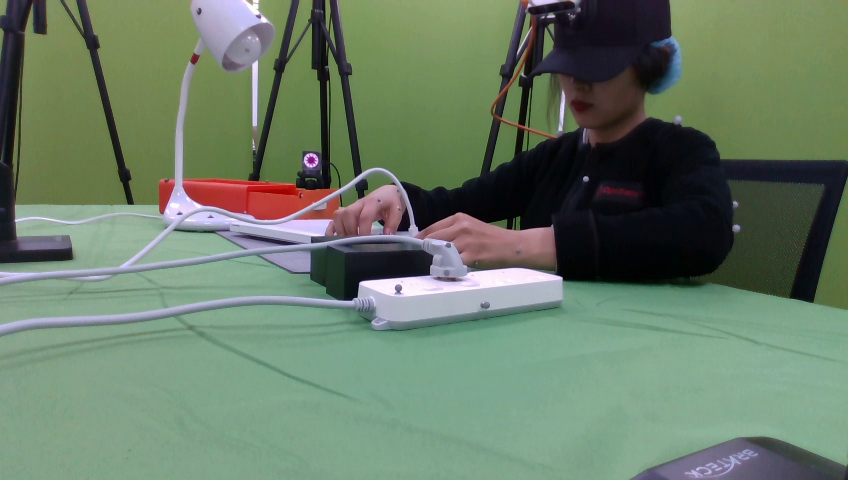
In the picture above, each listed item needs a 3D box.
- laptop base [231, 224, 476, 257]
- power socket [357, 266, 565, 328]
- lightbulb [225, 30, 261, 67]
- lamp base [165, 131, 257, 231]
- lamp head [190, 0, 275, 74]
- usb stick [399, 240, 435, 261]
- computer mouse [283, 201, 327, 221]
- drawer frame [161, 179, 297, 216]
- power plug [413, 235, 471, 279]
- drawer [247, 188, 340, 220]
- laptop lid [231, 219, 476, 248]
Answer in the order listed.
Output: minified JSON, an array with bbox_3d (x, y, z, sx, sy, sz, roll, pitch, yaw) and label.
[{"bbox_3d":[-0.121,-0.004,1.000,0.352,0.023,0.237,8,6,38],"label":"laptop base"},{"bbox_3d":[0.041,0.049,0.572,0.228,0.032,0.072,-3,8,-35],"label":"power socket"},{"bbox_3d":[-0.317,-0.335,1.002,0.107,0.059,0.059,46,16,6],"label":"lightbulb"},{"bbox_3d":[-0.407,-0.112,1.119,0.179,0.180,0.161,-1,7,7],"label":"lamp base"},{"bbox_3d":[-0.330,-0.355,1.008,0.123,0.112,0.112,43,15,6],"label":"lamp head"},{"bbox_3d":[-0.011,0.014,0.820,0.059,0.027,0.021,-8,9,38],"label":"usb stick"},{"bbox_3d":[-0.254,-0.062,1.293,0.063,0.041,0.117,1,2,10],"label":"computer mouse"},{"bbox_3d":[-0.421,-0.089,1.330,0.213,0.082,0.202,4,8,16],"label":"drawer frame"},{"bbox_3d":[0.017,0.023,0.588,0.035,0.052,0.072,-1,8,-24],"label":"power plug"},{"bbox_3d":[-0.314,-0.078,1.301,0.211,0.073,0.195,4,8,15],"label":"drawer"},{"bbox_3d":[-0.119,-0.015,1.000,0.355,0.013,0.243,9,7,39],"label":"laptop lid"}]
